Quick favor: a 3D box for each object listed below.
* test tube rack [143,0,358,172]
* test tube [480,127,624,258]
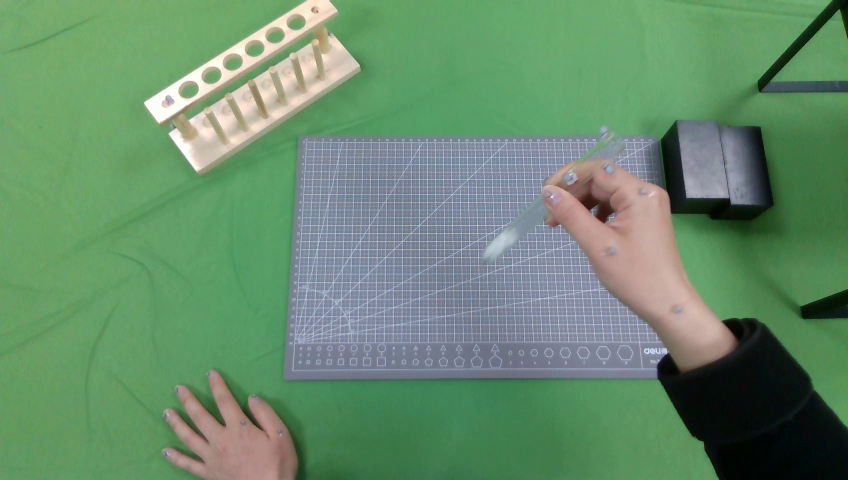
[{"bbox_3d":[-0.199,-0.190,0.729,0.242,0.085,0.066,-37,77,-11],"label":"test tube rack"},{"bbox_3d":[0.086,-0.028,0.440,0.017,0.150,0.017,19,49,-23],"label":"test tube"}]
